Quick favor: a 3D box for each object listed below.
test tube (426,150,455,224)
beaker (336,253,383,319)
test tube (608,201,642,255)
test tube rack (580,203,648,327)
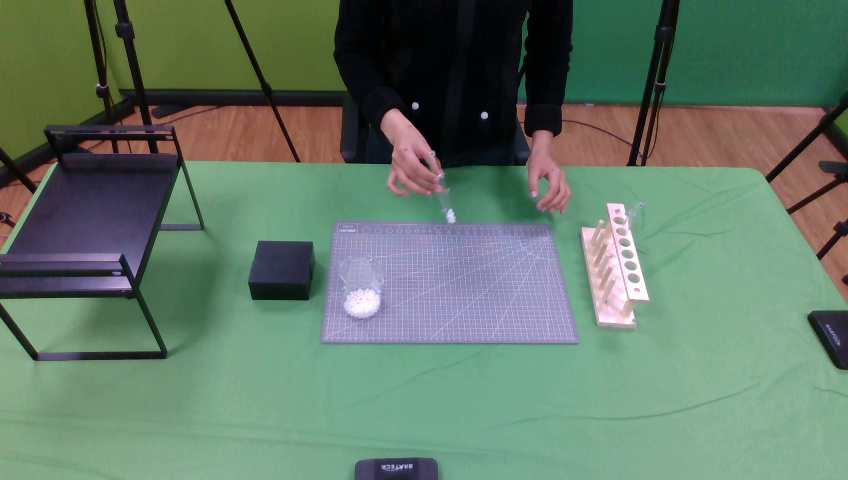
[{"bbox_3d":[0.030,-0.090,1.058,0.017,0.151,0.017,-13,34,9],"label":"test tube"},{"bbox_3d":[-0.108,0.084,1.051,0.084,0.101,0.074,25,50,17],"label":"beaker"},{"bbox_3d":[0.373,-0.019,1.133,0.017,0.151,0.017,3,52,-4],"label":"test tube"},{"bbox_3d":[0.352,0.041,1.143,0.067,0.085,0.241,4,46,0],"label":"test tube rack"}]
